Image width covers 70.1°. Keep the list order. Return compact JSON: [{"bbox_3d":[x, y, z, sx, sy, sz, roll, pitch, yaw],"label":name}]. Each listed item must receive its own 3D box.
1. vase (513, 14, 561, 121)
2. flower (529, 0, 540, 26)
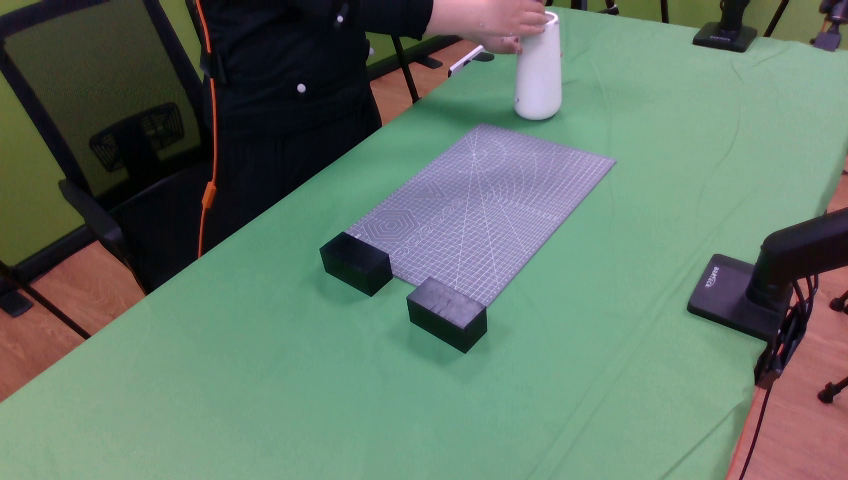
[{"bbox_3d":[0.225,-0.336,1.197,0.098,0.201,0.097,-5,42,5],"label":"vase"},{"bbox_3d":[0.204,-0.425,1.085,0.038,0.362,0.044,-3,57,-7],"label":"flower"}]
